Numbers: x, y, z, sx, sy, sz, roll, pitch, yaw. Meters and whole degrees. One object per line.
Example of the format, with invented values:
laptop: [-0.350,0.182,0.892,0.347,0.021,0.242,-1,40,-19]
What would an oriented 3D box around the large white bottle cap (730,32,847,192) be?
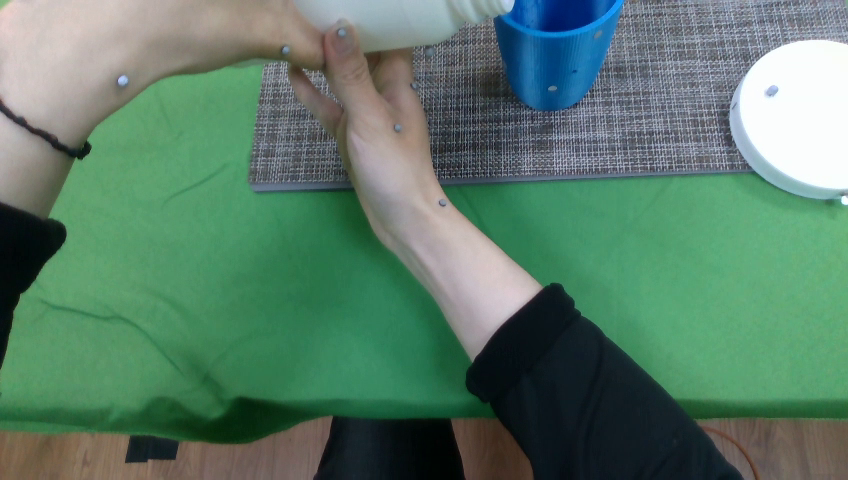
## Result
large white bottle cap: [0.271,-0.088,0.413,0.115,0.018,0.114,-1,74,4]

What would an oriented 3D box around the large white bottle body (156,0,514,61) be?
large white bottle body: [-0.046,-0.174,0.333,0.184,0.132,0.130,-1,70,17]

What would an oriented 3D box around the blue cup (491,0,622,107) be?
blue cup: [0.087,-0.143,0.410,0.092,0.101,0.092,-3,69,8]
